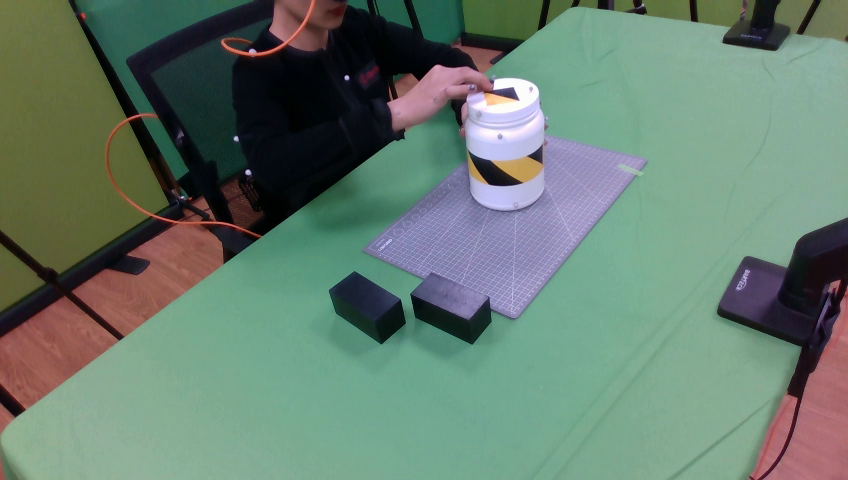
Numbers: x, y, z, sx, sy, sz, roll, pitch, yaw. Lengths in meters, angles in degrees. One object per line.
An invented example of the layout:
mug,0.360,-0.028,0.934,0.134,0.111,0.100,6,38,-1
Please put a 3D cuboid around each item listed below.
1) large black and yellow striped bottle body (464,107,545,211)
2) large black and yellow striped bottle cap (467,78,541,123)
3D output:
large black and yellow striped bottle body,0.136,-0.156,1.011,0.131,0.185,0.130,-6,40,5
large black and yellow striped bottle cap,0.126,-0.222,0.956,0.115,0.019,0.114,-7,40,6
